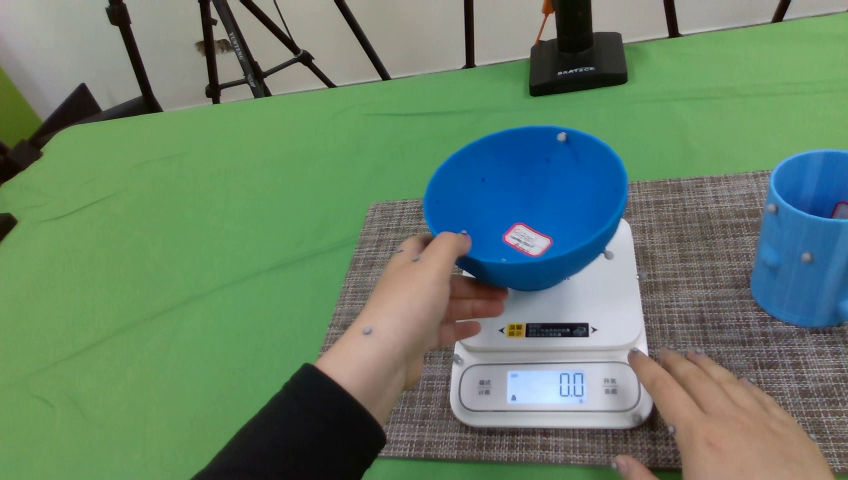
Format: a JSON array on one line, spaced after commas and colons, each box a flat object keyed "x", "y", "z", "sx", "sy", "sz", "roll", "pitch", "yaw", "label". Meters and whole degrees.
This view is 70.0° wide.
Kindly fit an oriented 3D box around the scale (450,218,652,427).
[{"x": 0.102, "y": 0.057, "z": 0.500, "sx": 0.148, "sy": 0.032, "sz": 0.199, "roll": -4, "pitch": 44, "yaw": 16, "label": "scale"}]

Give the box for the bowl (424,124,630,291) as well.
[{"x": 0.081, "y": -0.013, "z": 0.469, "sx": 0.151, "sy": 0.077, "sz": 0.150, "roll": -9, "pitch": 45, "yaw": 10, "label": "bowl"}]

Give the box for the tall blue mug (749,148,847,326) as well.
[{"x": 0.294, "y": 0.006, "z": 0.429, "sx": 0.078, "sy": 0.109, "sz": 0.106, "roll": -38, "pitch": 46, "yaw": -22, "label": "tall blue mug"}]
